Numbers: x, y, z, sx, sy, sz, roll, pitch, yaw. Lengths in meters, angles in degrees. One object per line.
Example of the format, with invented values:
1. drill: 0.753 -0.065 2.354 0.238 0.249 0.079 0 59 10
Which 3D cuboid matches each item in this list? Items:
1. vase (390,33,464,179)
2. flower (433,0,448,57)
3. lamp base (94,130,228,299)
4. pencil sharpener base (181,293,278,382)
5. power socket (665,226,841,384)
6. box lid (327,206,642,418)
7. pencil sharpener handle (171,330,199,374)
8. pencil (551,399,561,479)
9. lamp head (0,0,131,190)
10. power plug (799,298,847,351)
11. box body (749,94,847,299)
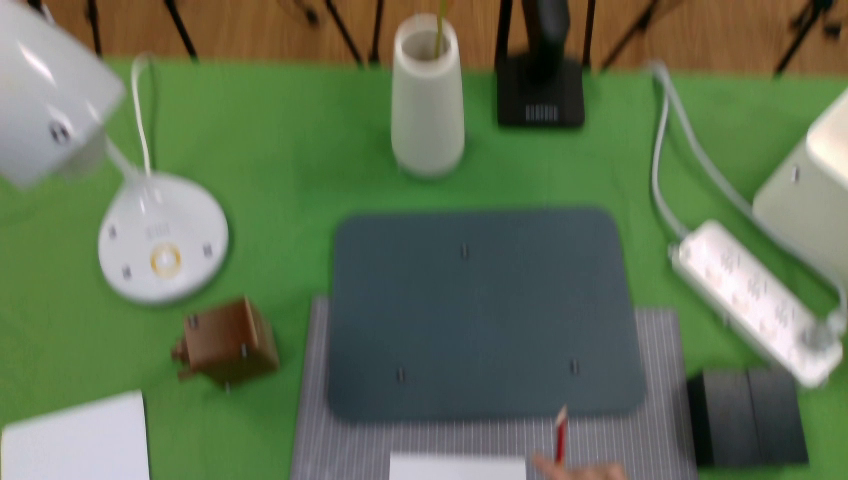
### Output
1. vase: 0.005 -0.160 0.750 0.098 0.201 0.097 1 65 -1
2. flower: 0.014 -0.206 0.679 0.044 0.364 0.038 -18 55 -25
3. lamp base: -0.338 -0.042 0.706 0.161 0.181 0.177 -27 66 -11
4. pencil sharpener base: -0.216 0.113 0.679 0.077 0.108 0.061 -17 67 -7
5. power socket: 0.398 0.075 0.737 0.072 0.033 0.225 -36 70 -15
6. box lid: 0.070 0.080 0.746 0.372 0.015 0.261 -2 66 -1
7. pencil sharpener handle: -0.264 0.126 0.659 0.031 0.068 0.035 -18 54 -7
8. pencil: 0.108 0.221 0.500 0.012 0.012 0.192 8 52 4
9. lamp head: -0.299 -0.115 0.437 0.112 0.124 0.111 -28 32 20
10. power plug: 0.468 0.102 0.701 0.072 0.053 0.035 -24 66 -15
11. box body: 0.615 -0.020 0.709 0.254 0.161 0.361 -39 72 -16
